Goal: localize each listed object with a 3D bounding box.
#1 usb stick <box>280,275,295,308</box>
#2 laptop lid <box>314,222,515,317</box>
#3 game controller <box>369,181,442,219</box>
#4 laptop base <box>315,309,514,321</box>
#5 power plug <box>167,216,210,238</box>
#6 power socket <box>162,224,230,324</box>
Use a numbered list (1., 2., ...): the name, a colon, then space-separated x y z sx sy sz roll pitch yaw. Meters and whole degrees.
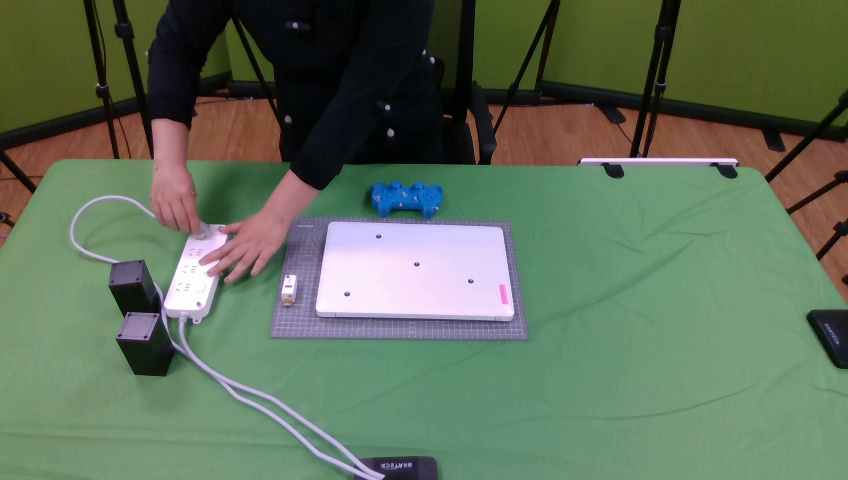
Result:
1. usb stick: -0.244 0.093 1.081 0.021 0.027 0.059 3 48 -4
2. laptop lid: -0.016 0.049 1.134 0.357 0.013 0.240 3 43 -2
3. game controller: -0.039 -0.092 1.268 0.155 0.052 0.096 2 51 -2
4. laptop base: -0.017 0.059 1.141 0.354 0.023 0.234 2 43 -3
5. power plug: -0.437 -0.025 1.133 0.072 0.053 0.035 18 46 -1
6. power socket: -0.412 0.052 1.107 0.072 0.033 0.225 3 46 -4
